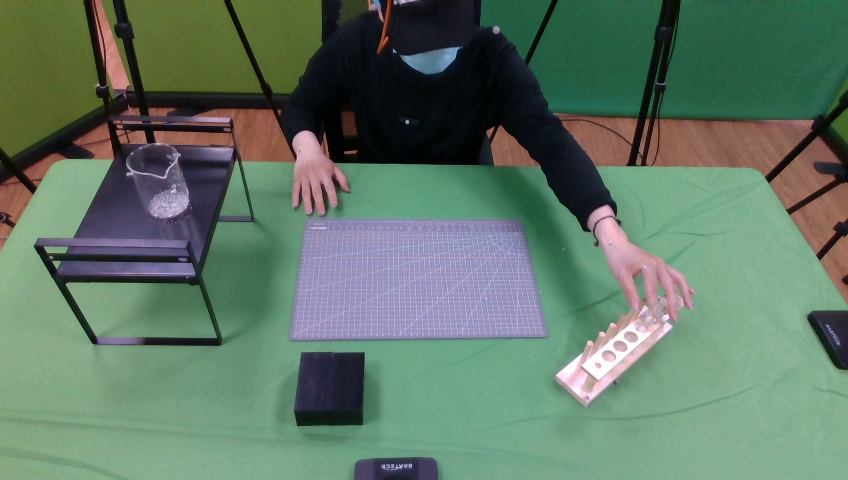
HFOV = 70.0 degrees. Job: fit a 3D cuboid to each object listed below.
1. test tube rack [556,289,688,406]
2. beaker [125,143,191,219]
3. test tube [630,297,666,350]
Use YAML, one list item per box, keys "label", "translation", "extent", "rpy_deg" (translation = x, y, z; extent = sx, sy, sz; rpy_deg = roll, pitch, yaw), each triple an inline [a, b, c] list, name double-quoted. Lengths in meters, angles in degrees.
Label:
- label: "test tube rack"
  translation: [0.332, 0.166, 1.014]
  extent: [0.242, 0.085, 0.066]
  rpy_deg: [-30, 55, -28]
- label: "beaker"
  translation: [-0.409, -0.088, 0.946]
  extent: [0.074, 0.101, 0.083]
  rpy_deg: [-28, 54, -26]
- label: "test tube"
  translation: [0.354, 0.137, 0.973]
  extent: [0.017, 0.151, 0.017]
  rpy_deg: [1, 52, -2]
